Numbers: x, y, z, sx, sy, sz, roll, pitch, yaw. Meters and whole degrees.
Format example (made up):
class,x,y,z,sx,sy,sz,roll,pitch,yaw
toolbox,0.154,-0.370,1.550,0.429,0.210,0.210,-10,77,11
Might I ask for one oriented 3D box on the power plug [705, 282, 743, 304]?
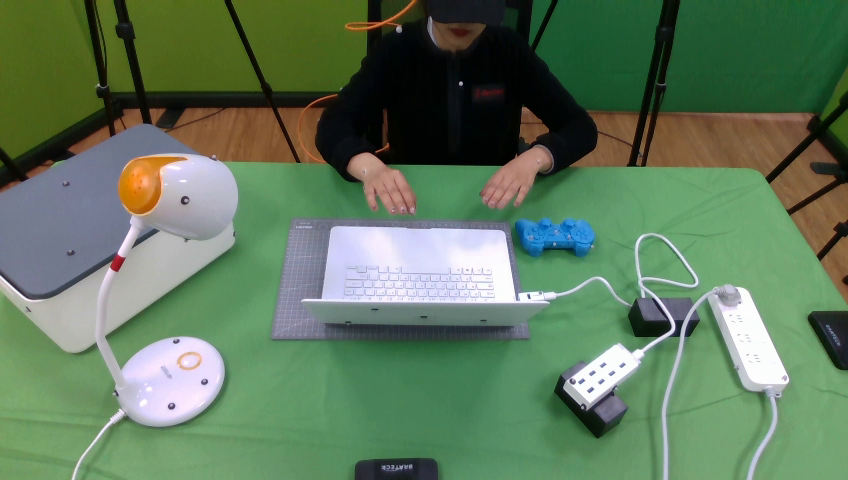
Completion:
class,x,y,z,sx,sy,sz,roll,pitch,yaw
power plug,0.539,0.097,1.098,0.072,0.053,0.035,8,47,8

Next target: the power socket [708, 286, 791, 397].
class,x,y,z,sx,sy,sz,roll,pitch,yaw
power socket,0.567,0.167,1.064,0.072,0.033,0.225,2,46,-1

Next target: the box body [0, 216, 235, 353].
class,x,y,z,sx,sy,sz,roll,pitch,yaw
box body,-0.550,-0.007,1.068,0.253,0.161,0.363,30,51,23

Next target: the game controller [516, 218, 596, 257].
class,x,y,z,sx,sy,sz,roll,pitch,yaw
game controller,0.267,-0.015,1.212,0.155,0.052,0.096,0,50,-3

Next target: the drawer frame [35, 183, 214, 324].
class,x,y,z,sx,sy,sz,roll,pitch,yaw
drawer frame,-0.531,0.018,1.092,0.201,0.083,0.213,29,52,21

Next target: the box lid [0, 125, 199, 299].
class,x,y,z,sx,sy,sz,roll,pitch,yaw
box lid,-0.540,-0.068,1.016,0.262,0.015,0.371,30,51,23

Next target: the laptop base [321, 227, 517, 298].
class,x,y,z,sx,sy,sz,roll,pitch,yaw
laptop base,-0.009,0.062,1.137,0.354,0.023,0.234,1,42,-3

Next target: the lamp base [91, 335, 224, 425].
class,x,y,z,sx,sy,sz,roll,pitch,yaw
lamp base,-0.401,0.170,0.892,0.160,0.181,0.179,30,53,23

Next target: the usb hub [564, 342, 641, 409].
class,x,y,z,sx,sy,sz,roll,pitch,yaw
usb hub,0.278,0.208,0.942,0.125,0.025,0.049,-27,52,-28

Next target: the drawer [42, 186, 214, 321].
class,x,y,z,sx,sy,sz,roll,pitch,yaw
drawer,-0.529,0.018,1.097,0.194,0.073,0.211,29,53,20

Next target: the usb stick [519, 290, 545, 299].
class,x,y,z,sx,sy,sz,roll,pitch,yaw
usb stick,0.186,0.108,1.086,0.059,0.027,0.021,-7,47,1

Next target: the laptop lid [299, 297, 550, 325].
class,x,y,z,sx,sy,sz,roll,pitch,yaw
laptop lid,-0.002,0.114,0.943,0.357,0.242,0.013,1,74,-4

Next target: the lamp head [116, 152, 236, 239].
class,x,y,z,sx,sy,sz,roll,pitch,yaw
lamp head,-0.315,-0.057,0.747,0.112,0.112,0.123,26,10,20
